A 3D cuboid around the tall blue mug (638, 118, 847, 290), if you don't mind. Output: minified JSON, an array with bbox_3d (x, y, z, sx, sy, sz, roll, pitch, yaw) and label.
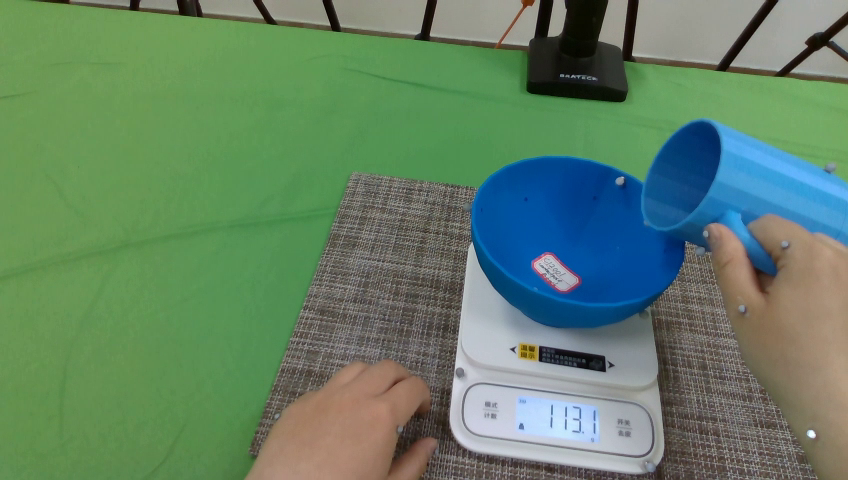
[{"bbox_3d":[0.213,-0.022,0.387,0.108,0.078,0.106,18,10,-14],"label":"tall blue mug"}]

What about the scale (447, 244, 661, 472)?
[{"bbox_3d":[0.100,0.072,0.471,0.148,0.032,0.199,7,47,4],"label":"scale"}]

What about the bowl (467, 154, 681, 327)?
[{"bbox_3d":[0.103,0.013,0.453,0.151,0.077,0.150,2,47,-2],"label":"bowl"}]
